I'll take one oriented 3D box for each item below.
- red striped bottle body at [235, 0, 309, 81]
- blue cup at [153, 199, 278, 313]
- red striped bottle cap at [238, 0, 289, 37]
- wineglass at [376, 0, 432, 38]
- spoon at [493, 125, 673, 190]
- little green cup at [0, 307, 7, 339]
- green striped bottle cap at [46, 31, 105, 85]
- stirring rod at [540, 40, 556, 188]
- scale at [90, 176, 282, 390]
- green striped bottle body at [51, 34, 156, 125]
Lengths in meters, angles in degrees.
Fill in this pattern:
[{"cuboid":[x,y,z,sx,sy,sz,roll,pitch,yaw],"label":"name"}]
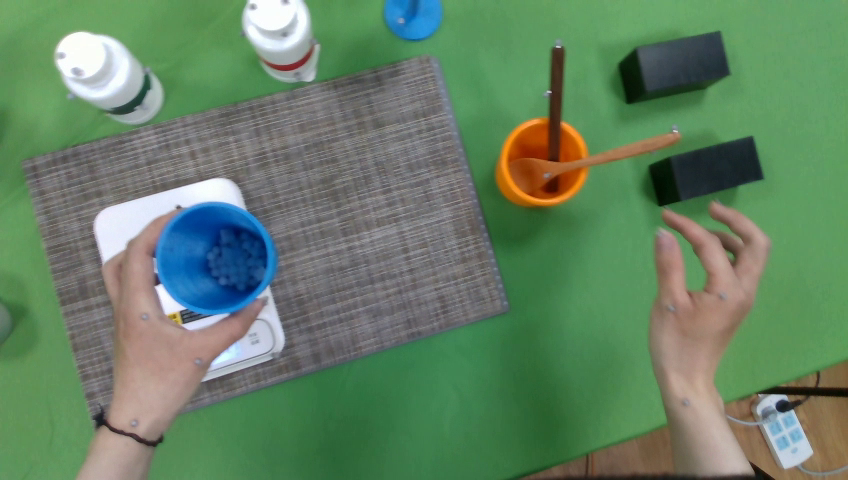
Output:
[{"cuboid":[-0.152,-0.209,0.611,0.063,0.119,0.063,0,87,-5],"label":"red striped bottle body"},{"cuboid":[-0.160,0.014,0.501,0.093,0.100,0.092,0,87,-6],"label":"blue cup"},{"cuboid":[-0.148,-0.211,0.558,0.044,0.018,0.044,0,84,-4],"label":"red striped bottle cap"},{"cuboid":[-0.016,-0.265,0.600,0.074,0.172,0.073,0,87,-5],"label":"wineglass"},{"cuboid":[0.156,-0.085,0.620,0.021,0.193,0.042,-38,111,-46],"label":"spoon"},{"cuboid":[-0.457,0.085,0.609,0.061,0.038,0.061,0,87,-6],"label":"little green cup"},{"cuboid":[-0.309,-0.162,0.538,0.044,0.020,0.044,0,87,-3],"label":"green striped bottle cap"},{"cuboid":[0.126,-0.121,0.618,0.014,0.178,0.005,-1,46,9],"label":"stirring rod"},{"cuboid":[-0.246,0.044,0.631,0.149,0.031,0.200,-18,89,-6],"label":"scale"},{"cuboid":[-0.314,-0.158,0.593,0.063,0.119,0.063,0,87,-5],"label":"green striped bottle body"}]
